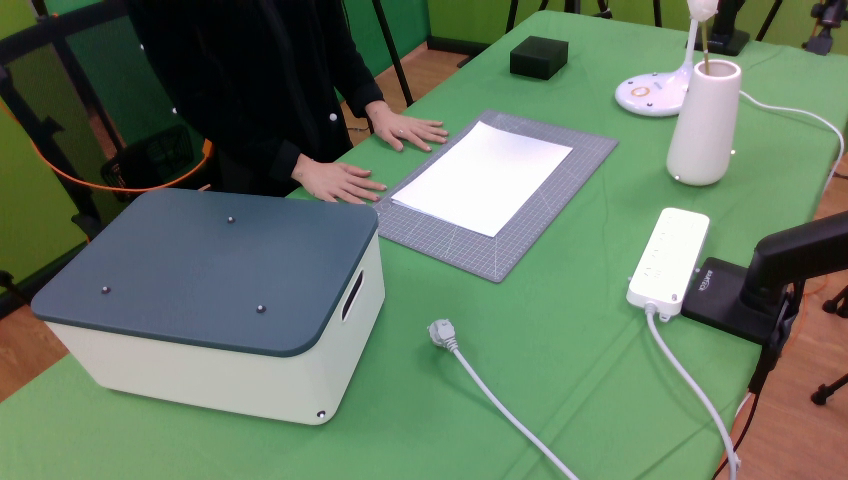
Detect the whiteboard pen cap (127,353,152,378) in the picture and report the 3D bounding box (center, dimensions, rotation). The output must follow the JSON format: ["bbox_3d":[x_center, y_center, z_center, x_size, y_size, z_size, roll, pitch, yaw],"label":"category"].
[{"bbox_3d":[-0.385,0.170,0.819,0.018,0.018,0.033,7,41,16],"label":"whiteboard pen cap"}]

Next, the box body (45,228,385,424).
[{"bbox_3d":[-0.254,0.081,0.807,0.363,0.161,0.253,5,42,14],"label":"box body"}]

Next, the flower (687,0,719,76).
[{"bbox_3d":[0.436,-0.242,0.934,0.038,0.364,0.043,-24,49,9],"label":"flower"}]

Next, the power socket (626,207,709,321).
[{"bbox_3d":[0.360,0.026,0.886,0.072,0.033,0.227,17,46,27],"label":"power socket"}]

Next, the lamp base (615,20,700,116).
[{"bbox_3d":[0.484,-0.364,1.211,0.180,0.181,0.159,-15,41,-14],"label":"lamp base"}]

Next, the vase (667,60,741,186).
[{"bbox_3d":[0.463,-0.189,0.994,0.098,0.201,0.097,-4,40,4],"label":"vase"}]

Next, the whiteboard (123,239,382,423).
[{"bbox_3d":[-0.242,0.094,0.809,0.304,0.144,0.216,5,45,13],"label":"whiteboard"}]

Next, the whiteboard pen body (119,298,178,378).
[{"bbox_3d":[-0.396,0.139,0.869,0.017,0.017,0.140,6,46,15],"label":"whiteboard pen body"}]

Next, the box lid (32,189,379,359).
[{"bbox_3d":[-0.260,0.025,0.758,0.370,0.015,0.263,5,41,14],"label":"box lid"}]

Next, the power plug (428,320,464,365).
[{"bbox_3d":[0.027,0.139,0.797,0.035,0.053,0.072,-9,61,-5],"label":"power plug"}]
